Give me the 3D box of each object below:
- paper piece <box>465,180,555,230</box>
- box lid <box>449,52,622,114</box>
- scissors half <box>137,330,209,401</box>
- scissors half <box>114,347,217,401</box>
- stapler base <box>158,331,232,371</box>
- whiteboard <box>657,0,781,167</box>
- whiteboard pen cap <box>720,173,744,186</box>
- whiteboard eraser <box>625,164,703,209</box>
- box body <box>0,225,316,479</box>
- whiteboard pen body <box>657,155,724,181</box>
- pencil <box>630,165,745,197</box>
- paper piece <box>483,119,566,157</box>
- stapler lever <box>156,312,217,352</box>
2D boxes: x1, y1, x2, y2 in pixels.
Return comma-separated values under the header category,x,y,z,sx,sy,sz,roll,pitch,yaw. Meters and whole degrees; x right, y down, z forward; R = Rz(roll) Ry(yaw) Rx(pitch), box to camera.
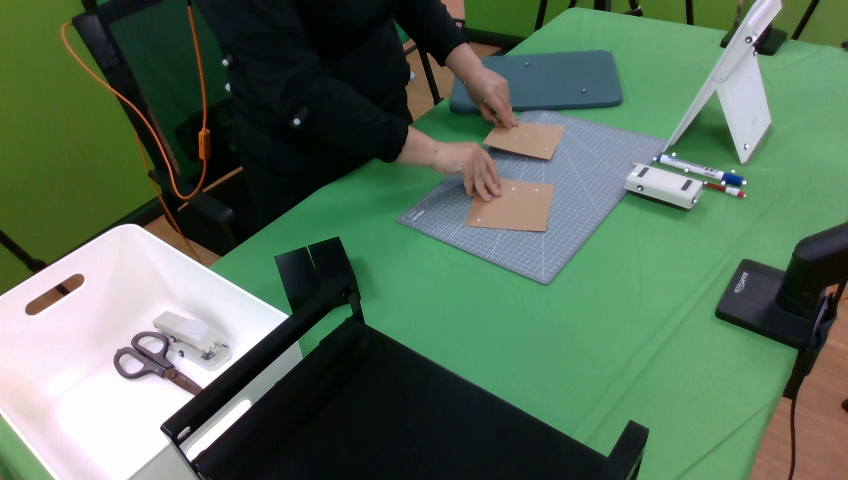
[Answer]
category,x,y,z,sx,sy,sz,roll,pitch,yaw
paper piece,0.150,-0.061,1.035,0.137,0.009,0.136,5,38,16
box lid,0.250,-0.358,1.370,0.371,0.015,0.262,0,40,9
scissors half,-0.336,0.172,0.822,0.174,0.013,0.040,34,55,31
scissors half,-0.348,0.185,0.811,0.174,0.013,0.040,15,53,18
stapler base,-0.325,0.142,0.849,0.129,0.024,0.041,17,41,33
whiteboard,0.572,-0.272,1.038,0.143,0.306,0.218,37,54,17
whiteboard pen cap,0.519,-0.102,1.020,0.033,0.018,0.018,23,49,31
whiteboard eraser,0.396,-0.086,1.003,0.112,0.042,0.056,23,47,31
box body,-0.339,0.162,0.728,0.361,0.161,0.255,23,48,31
whiteboard pen body,0.475,-0.122,1.051,0.139,0.017,0.017,24,50,32
pencil,0.447,-0.103,1.039,0.192,0.012,0.012,21,48,30
paper piece,0.198,-0.203,1.185,0.135,0.004,0.135,15,36,17
stapler lever,-0.330,0.121,0.835,0.117,0.040,0.027,17,41,33
